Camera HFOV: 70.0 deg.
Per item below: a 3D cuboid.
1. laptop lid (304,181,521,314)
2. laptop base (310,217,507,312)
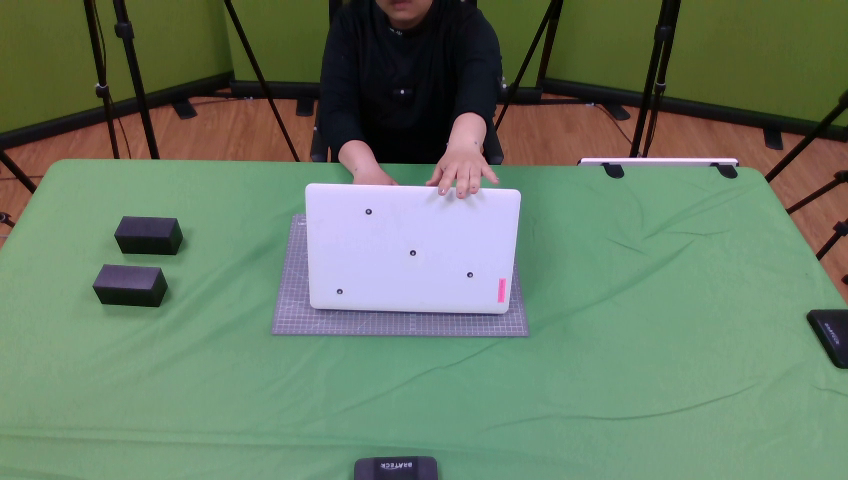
[{"bbox_3d":[-0.021,0.019,1.018,0.357,0.242,0.013,3,23,-4],"label":"laptop lid"},{"bbox_3d":[-0.028,0.045,1.154,0.354,0.023,0.234,2,42,-3],"label":"laptop base"}]
